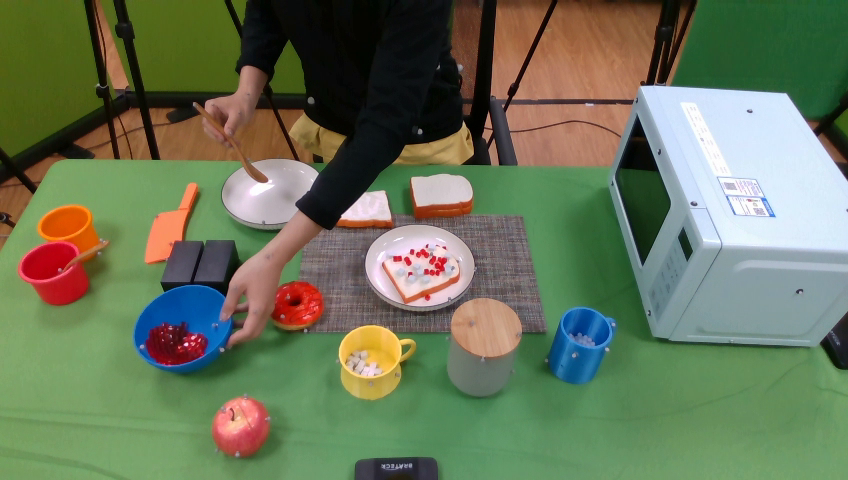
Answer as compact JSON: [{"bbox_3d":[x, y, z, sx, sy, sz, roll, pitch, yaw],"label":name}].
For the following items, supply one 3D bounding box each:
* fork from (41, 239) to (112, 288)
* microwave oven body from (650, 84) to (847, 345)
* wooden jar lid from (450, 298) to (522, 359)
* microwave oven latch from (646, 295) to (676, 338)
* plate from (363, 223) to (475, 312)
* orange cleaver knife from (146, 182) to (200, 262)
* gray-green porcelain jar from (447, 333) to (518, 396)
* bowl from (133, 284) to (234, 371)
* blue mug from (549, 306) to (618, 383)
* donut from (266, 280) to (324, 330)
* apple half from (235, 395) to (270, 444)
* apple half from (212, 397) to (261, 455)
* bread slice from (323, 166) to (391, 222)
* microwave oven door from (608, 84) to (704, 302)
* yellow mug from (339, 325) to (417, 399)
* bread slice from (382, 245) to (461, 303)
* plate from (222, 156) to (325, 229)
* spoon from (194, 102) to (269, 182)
[{"bbox_3d":[-0.591,0.040,1.028,0.207,0.019,0.028,-27,36,29],"label":"fork"},{"bbox_3d":[0.569,-0.054,1.116,0.326,0.261,0.439,2,46,-1],"label":"microwave oven body"},{"bbox_3d":[0.093,0.135,0.914,0.108,0.021,0.107,3,48,-3],"label":"wooden jar lid"},{"bbox_3d":[0.413,0.133,1.061,0.030,0.029,0.078,4,46,1],"label":"microwave oven latch"},{"bbox_3d":[-0.009,0.054,1.126,0.208,0.039,0.206,2,46,-2],"label":"plate"},{"bbox_3d":[-0.494,-0.039,1.199,0.077,0.012,0.210,-3,48,2],"label":"orange cleaver knife"},{"bbox_3d":[0.091,0.178,0.960,0.106,0.127,0.105,2,47,-2],"label":"gray-green porcelain jar"},{"bbox_3d":[-0.375,0.154,0.978,0.151,0.077,0.150,0,50,1],"label":"bowl"},{"bbox_3d":[0.269,0.167,0.997,0.116,0.106,0.082,-19,51,-21],"label":"blue mug"},{"bbox_3d":[-0.223,0.112,1.051,0.099,0.048,0.098,2,45,-2],"label":"donut"},{"bbox_3d":[-0.245,0.259,0.892,0.033,0.082,0.081,-29,55,-22],"label":"apple half"},{"bbox_3d":[-0.276,0.277,0.877,0.053,0.075,0.080,-29,58,-21],"label":"apple half"},{"bbox_3d":[-0.140,-0.092,1.224,0.134,0.018,0.106,-19,50,5],"label":"bread slice"},{"bbox_3d":[0.424,-0.096,1.137,0.039,0.245,0.353,3,46,-1],"label":"microwave oven door"},{"bbox_3d":[-0.072,0.191,0.978,0.131,0.064,0.099,-17,50,-20],"label":"yellow mug"},{"bbox_3d":[0.001,0.055,1.128,0.131,0.019,0.104,-21,51,-20],"label":"bread slice"},{"bbox_3d":[-0.307,-0.095,1.251,0.209,0.038,0.208,2,47,-2],"label":"plate"},{"bbox_3d":[-0.356,-0.181,1.128,0.021,0.195,0.041,-28,30,10],"label":"spoon"}]
